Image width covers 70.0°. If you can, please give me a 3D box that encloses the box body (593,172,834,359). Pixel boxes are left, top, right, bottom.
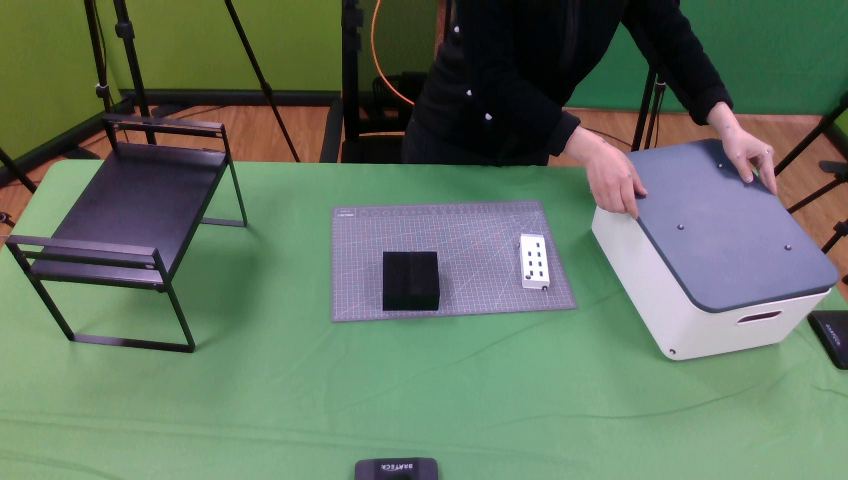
[{"bbox_3d":[0.497,0.023,1.111,0.254,0.161,0.361,-8,47,-10],"label":"box body"}]

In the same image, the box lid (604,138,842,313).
[{"bbox_3d":[0.498,-0.045,1.047,0.263,0.015,0.369,-10,50,-10],"label":"box lid"}]

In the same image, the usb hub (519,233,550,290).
[{"bbox_3d":[0.212,0.039,1.167,0.049,0.025,0.124,4,45,0],"label":"usb hub"}]
